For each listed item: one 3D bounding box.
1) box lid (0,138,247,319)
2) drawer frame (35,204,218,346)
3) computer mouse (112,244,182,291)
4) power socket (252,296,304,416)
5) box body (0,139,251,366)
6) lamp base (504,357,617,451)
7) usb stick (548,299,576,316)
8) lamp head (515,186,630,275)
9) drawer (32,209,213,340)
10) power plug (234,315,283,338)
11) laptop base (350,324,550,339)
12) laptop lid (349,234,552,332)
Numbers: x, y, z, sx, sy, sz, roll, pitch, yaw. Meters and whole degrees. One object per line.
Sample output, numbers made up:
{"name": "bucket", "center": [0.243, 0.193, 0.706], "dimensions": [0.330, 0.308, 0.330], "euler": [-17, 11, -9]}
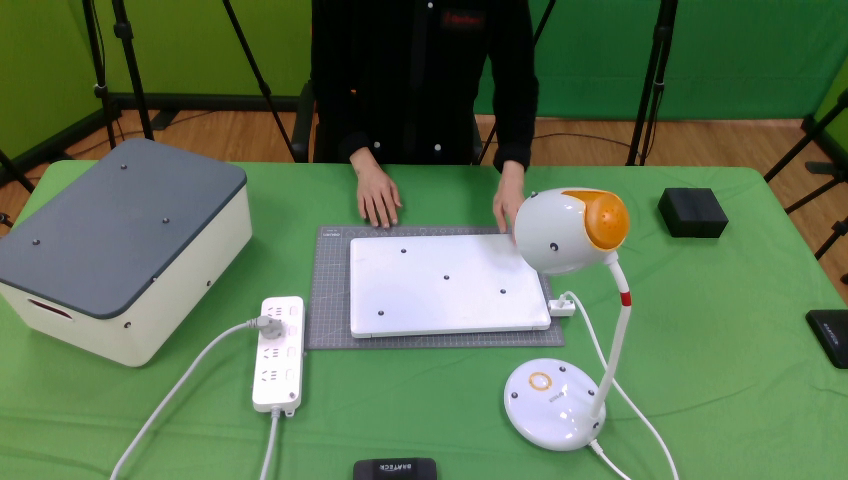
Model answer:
{"name": "box lid", "center": [-0.494, -0.038, 0.993], "dimensions": [0.263, 0.015, 0.370], "euler": [17, 46, 12]}
{"name": "drawer frame", "center": [-0.505, 0.054, 1.052], "dimensions": [0.201, 0.083, 0.212], "euler": [14, 52, 12]}
{"name": "computer mouse", "center": [-0.493, 0.046, 1.078], "dimensions": [0.117, 0.041, 0.062], "euler": [24, 42, 13]}
{"name": "power socket", "center": [-0.238, 0.182, 0.997], "dimensions": [0.072, 0.033, 0.225], "euler": [-3, 47, -5]}
{"name": "box body", "center": [-0.496, 0.013, 1.048], "dimensions": [0.254, 0.161, 0.362], "euler": [17, 47, 12]}
{"name": "lamp base", "center": [0.220, 0.211, 0.903], "dimensions": [0.160, 0.181, 0.178], "euler": [-32, 59, -30]}
{"name": "usb stick", "center": [0.239, 0.121, 1.084], "dimensions": [0.059, 0.027, 0.021], "euler": [-1, 51, -1]}
{"name": "lamp head", "center": [0.188, -0.013, 0.728], "dimensions": [0.112, 0.112, 0.122], "euler": [-25, 9, -25]}
{"name": "drawer", "center": [-0.509, 0.054, 1.045], "dimensions": [0.194, 0.073, 0.211], "euler": [15, 43, 10]}
{"name": "power plug", "center": [-0.270, 0.143, 1.000], "dimensions": [0.072, 0.053, 0.035], "euler": [4, 47, 2]}
{"name": "laptop base", "center": [0.039, 0.081, 1.124], "dimensions": [0.355, 0.023, 0.234], "euler": [-2, 43, -6]}
{"name": "laptop lid", "center": [0.040, 0.071, 1.117], "dimensions": [0.357, 0.013, 0.240], "euler": [0, 44, -5]}
